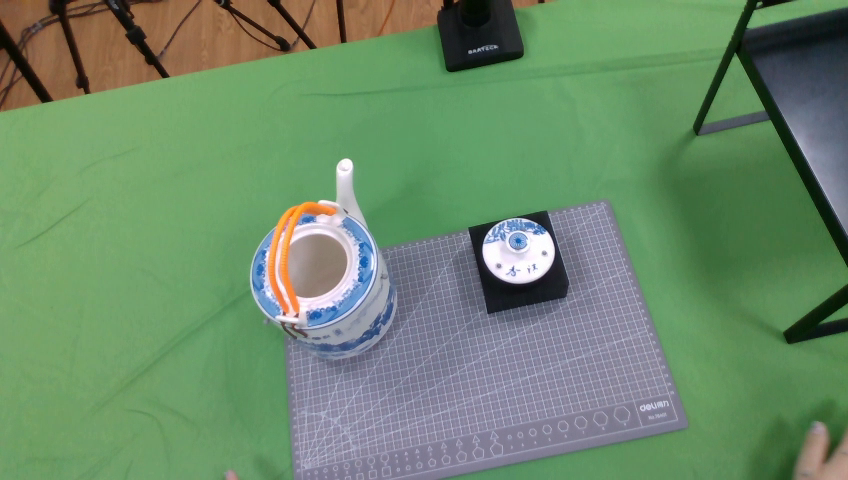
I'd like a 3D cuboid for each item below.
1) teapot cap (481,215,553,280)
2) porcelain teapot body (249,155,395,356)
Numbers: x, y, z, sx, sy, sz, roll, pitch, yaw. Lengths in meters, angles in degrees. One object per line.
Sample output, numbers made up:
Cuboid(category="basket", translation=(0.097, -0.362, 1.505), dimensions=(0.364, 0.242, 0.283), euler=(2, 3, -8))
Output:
Cuboid(category="teapot cap", translation=(0.108, 0.007, 0.709), dimensions=(0.085, 0.044, 0.084), euler=(-3, 62, 7))
Cuboid(category="porcelain teapot body", translation=(-0.112, 0.010, 0.692), dimensions=(0.145, 0.227, 0.204), euler=(8, 66, 12))
